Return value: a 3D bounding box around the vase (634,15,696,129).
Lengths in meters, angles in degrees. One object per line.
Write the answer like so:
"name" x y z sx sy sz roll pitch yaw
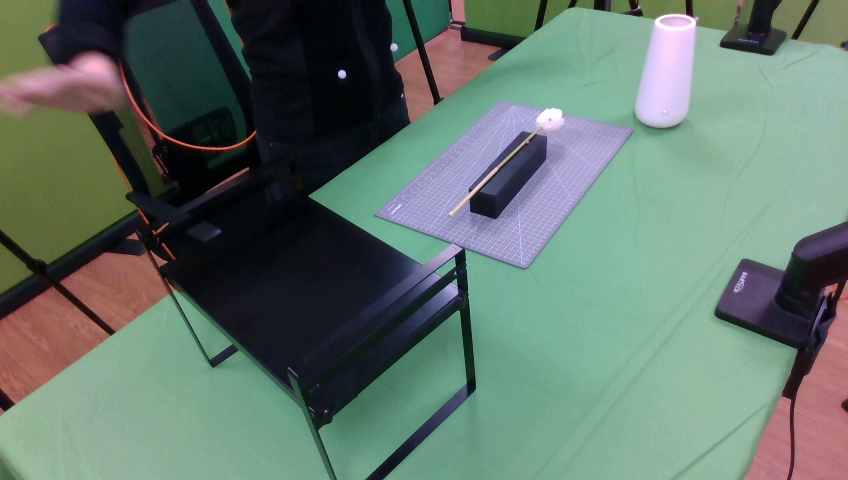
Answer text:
"vase" 0.455 -0.310 1.133 0.098 0.201 0.097 -4 42 4

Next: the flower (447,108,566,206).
"flower" 0.147 -0.146 1.047 0.044 0.038 0.363 46 52 5
